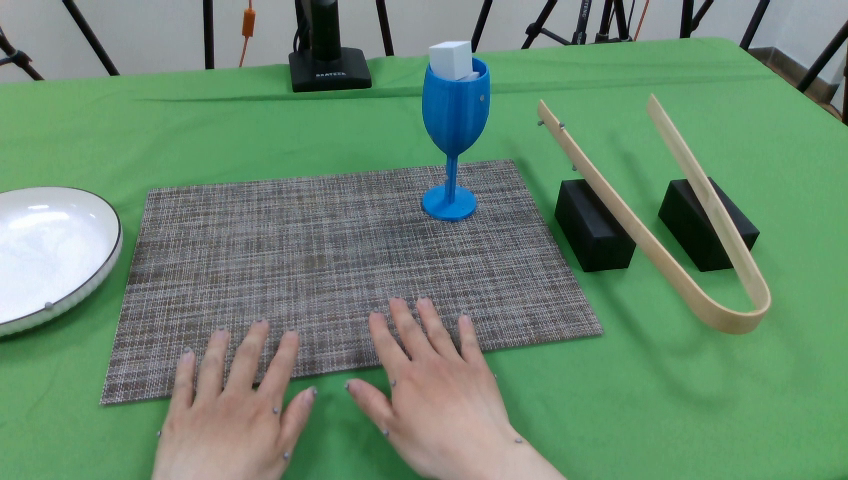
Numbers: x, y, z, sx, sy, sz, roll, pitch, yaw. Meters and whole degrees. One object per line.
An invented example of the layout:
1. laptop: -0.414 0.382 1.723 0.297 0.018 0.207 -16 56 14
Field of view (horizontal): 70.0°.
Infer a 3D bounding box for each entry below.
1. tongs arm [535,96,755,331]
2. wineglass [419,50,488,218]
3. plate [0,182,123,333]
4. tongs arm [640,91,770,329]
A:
1. tongs arm: 0.212 -0.053 0.650 0.051 0.027 0.380 -6 43 -13
2. wineglass: 0.029 -0.111 0.661 0.074 0.174 0.073 1 42 -1
3. plate: -0.408 0.018 0.602 0.209 0.038 0.207 1 42 -1
4. tongs arm: 0.292 -0.059 0.662 0.028 0.028 0.383 5 42 -5
